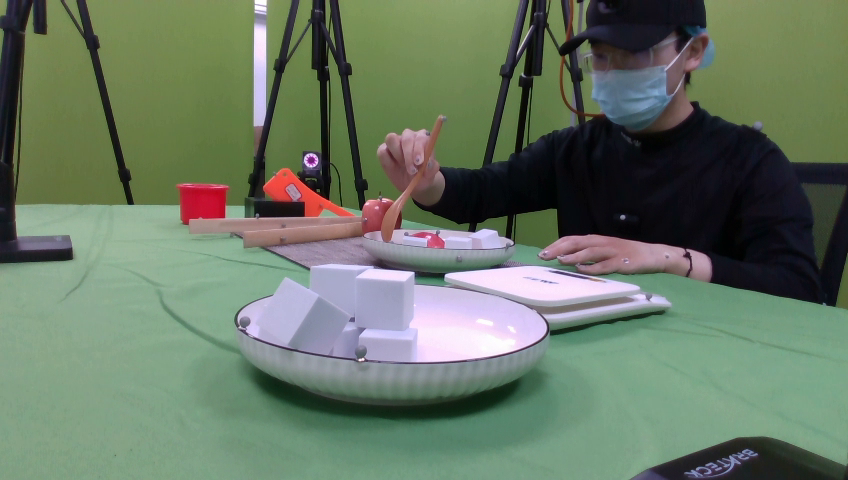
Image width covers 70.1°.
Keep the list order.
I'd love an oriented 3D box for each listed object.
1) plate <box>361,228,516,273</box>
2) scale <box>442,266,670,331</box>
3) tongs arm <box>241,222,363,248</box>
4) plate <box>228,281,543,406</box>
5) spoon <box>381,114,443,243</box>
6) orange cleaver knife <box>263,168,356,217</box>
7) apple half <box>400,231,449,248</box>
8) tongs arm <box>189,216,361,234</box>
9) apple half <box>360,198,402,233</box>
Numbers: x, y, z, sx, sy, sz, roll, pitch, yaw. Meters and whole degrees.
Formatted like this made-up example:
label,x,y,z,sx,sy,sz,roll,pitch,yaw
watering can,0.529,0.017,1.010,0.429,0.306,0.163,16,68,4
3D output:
label,x,y,z,sx,sy,sz,roll,pitch,yaw
plate,0.018,0.013,0.818,0.209,0.038,0.209,2,7,0
scale,0.131,0.052,0.603,0.202,0.031,0.148,-2,9,-37
tongs arm,-0.159,-0.016,1.034,0.028,0.028,0.389,2,6,33
plate,-0.025,0.067,0.413,0.208,0.039,0.207,3,7,0
spoon,-0.016,-0.084,0.834,0.022,0.193,0.041,27,3,-23
orange cleaver knife,-0.240,-0.077,1.294,0.212,0.077,0.012,32,-7,-26
apple half,0.002,0.005,0.843,0.081,0.033,0.081,1,4,0
tongs arm,-0.221,-0.027,1.088,0.387,0.026,0.050,-3,8,-43
apple half,-0.066,-0.033,1.014,0.053,0.074,0.081,9,6,21
